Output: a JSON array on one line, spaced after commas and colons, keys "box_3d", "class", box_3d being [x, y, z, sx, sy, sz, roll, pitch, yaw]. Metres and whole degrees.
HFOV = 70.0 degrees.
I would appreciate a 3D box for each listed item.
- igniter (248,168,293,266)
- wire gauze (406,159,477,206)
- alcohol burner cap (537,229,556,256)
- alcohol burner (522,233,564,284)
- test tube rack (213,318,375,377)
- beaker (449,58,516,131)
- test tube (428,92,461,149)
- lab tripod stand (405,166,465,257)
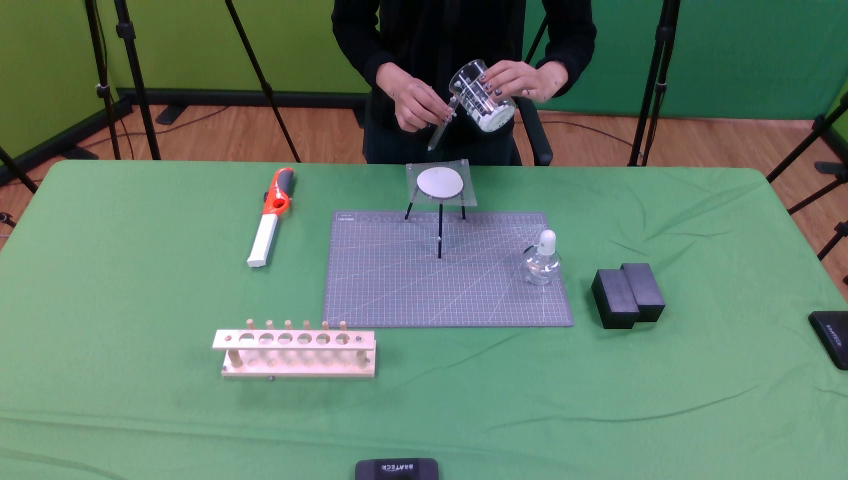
[{"box_3d": [-0.307, -0.055, 1.225, 0.057, 0.025, 0.275, -3, 45, 6], "class": "igniter"}, {"box_3d": [0.031, -0.108, 1.129, 0.125, 0.011, 0.120, -1, 48, -5], "class": "wire gauze"}, {"box_3d": [0.223, 0.001, 1.095, 0.034, 0.048, 0.033, 0, 44, 1], "class": "alcohol burner cap"}, {"box_3d": [0.223, 0.027, 1.120, 0.078, 0.119, 0.077, 2, 48, -2], "class": "alcohol burner"}, {"box_3d": [-0.202, 0.169, 0.977, 0.242, 0.085, 0.066, 1, 46, -3], "class": "test tube rack"}, {"box_3d": [0.098, -0.237, 1.007, 0.074, 0.084, 0.100, -23, 71, -36], "class": "beaker"}, {"box_3d": [0.036, -0.216, 1.109, 0.017, 0.150, 0.017, 9, 58, -15], "class": "test tube"}, {"box_3d": [0.030, -0.063, 1.180, 0.148, 0.132, 0.147, 3, 47, -3], "class": "lab tripod stand"}]
